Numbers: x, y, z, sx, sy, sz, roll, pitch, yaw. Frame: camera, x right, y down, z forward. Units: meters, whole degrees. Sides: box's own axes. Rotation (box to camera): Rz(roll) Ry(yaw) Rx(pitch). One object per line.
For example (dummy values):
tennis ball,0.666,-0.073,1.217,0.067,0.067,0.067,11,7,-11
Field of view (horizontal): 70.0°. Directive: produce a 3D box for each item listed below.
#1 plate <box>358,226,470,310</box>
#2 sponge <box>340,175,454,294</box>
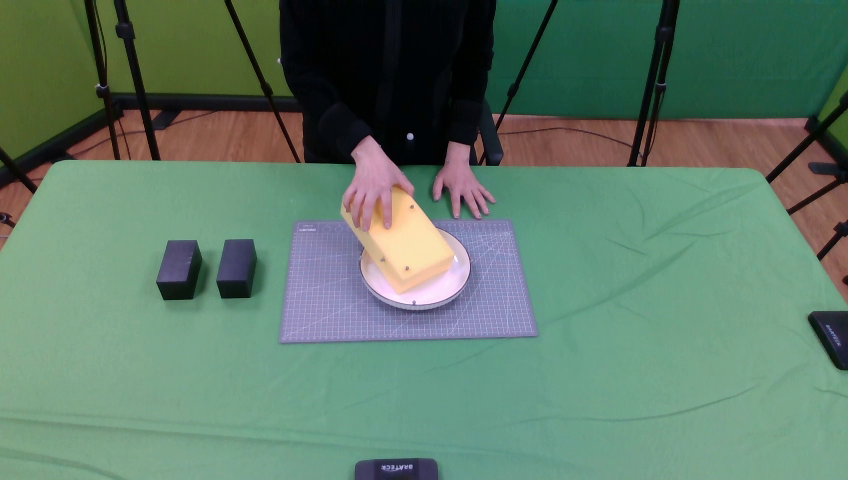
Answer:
plate,-0.019,0.052,1.132,0.209,0.038,0.208,2,46,-2
sponge,-0.054,-0.014,1.134,0.118,0.061,0.206,-27,67,-26
